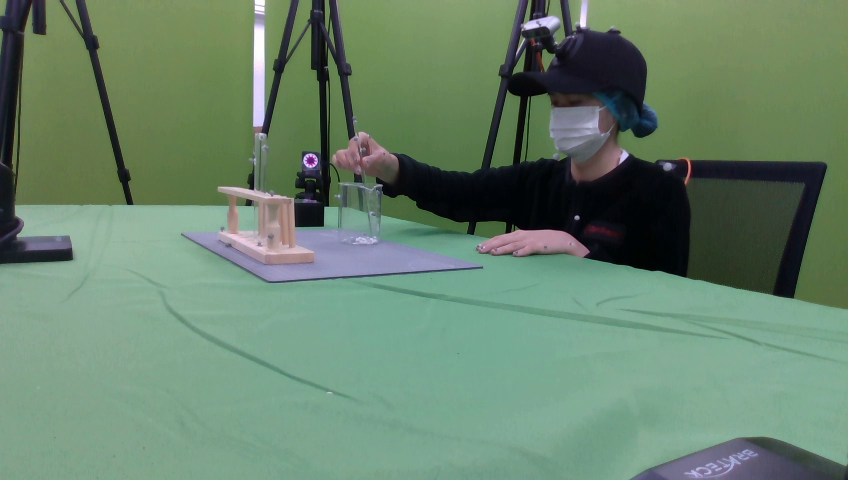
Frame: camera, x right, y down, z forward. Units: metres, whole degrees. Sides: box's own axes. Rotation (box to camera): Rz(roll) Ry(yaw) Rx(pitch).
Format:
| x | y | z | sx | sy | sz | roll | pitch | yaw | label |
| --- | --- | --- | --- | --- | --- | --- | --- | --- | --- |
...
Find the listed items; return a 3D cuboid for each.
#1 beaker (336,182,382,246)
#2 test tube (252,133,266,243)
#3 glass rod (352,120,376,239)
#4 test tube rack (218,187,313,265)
| x | y | z | sx | sy | sz | roll | pitch | yaw | label |
| --- | --- | --- | --- | --- | --- | --- | --- | --- | --- |
| -0.107 | -0.043 | 0.996 | 0.074 | 0.100 | 0.083 | -2 | 10 | -29 | beaker |
| -0.225 | -0.070 | 0.826 | 0.017 | 0.150 | 0.017 | 2 | 2 | 0 | test tube |
| -0.099 | -0.098 | 1.003 | 0.008 | 0.199 | 0.008 | -8 | 11 | 2 | glass rod |
| -0.235 | -0.027 | 0.872 | 0.067 | 0.085 | 0.241 | -2 | 8 | -32 | test tube rack |
